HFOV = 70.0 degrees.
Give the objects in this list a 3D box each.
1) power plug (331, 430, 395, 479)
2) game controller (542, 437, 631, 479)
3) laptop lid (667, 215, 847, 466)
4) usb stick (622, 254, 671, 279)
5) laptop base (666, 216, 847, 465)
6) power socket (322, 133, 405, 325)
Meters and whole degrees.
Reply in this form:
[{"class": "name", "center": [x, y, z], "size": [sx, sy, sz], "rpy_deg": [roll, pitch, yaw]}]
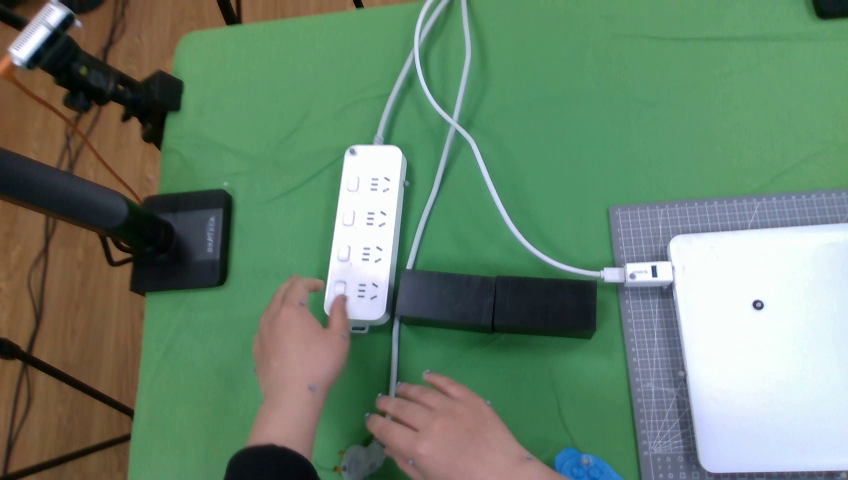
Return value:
[{"class": "power plug", "center": [-0.061, 0.227, 0.622], "size": [0.052, 0.073, 0.035], "rpy_deg": [-28, 75, 24]}, {"class": "game controller", "center": [0.124, 0.259, 0.564], "size": [0.155, 0.052, 0.096], "rpy_deg": [-40, 68, -6]}, {"class": "laptop lid", "center": [0.427, 0.088, 0.573], "size": [0.356, 0.013, 0.240], "rpy_deg": [-2, 75, 8]}, {"class": "usb stick", "center": [0.235, 0.027, 0.621], "size": [0.059, 0.027, 0.021], "rpy_deg": [-1, 73, 4]}, {"class": "laptop base", "center": [0.429, 0.089, 0.585], "size": [0.354, 0.023, 0.234], "rpy_deg": [-4, 76, 7]}, {"class": "power socket", "center": [-0.066, -0.018, 0.685], "size": [0.072, 0.033, 0.225], "rpy_deg": [2, 72, 9]}]
